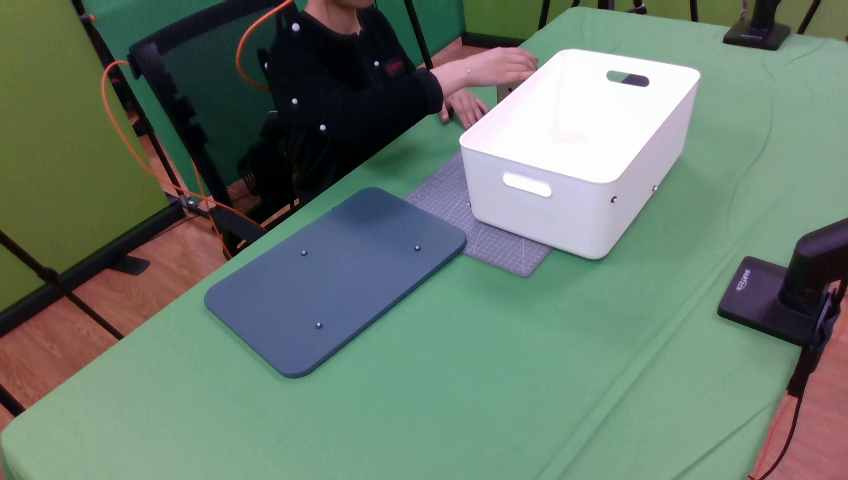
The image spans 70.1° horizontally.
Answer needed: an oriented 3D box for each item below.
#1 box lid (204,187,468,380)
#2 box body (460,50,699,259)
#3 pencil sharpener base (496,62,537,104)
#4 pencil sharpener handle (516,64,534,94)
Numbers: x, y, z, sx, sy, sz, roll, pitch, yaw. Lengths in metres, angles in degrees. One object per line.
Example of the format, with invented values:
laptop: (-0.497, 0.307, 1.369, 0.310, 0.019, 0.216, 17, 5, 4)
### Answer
box lid: (-0.135, 0.044, 0.963, 0.261, 0.015, 0.373, 29, 53, 36)
box body: (0.261, -0.153, 1.001, 0.252, 0.161, 0.365, 21, 48, 31)
pencil sharpener base: (0.190, -0.296, 1.225, 0.061, 0.107, 0.077, 14, 45, 26)
pencil sharpener handle: (0.214, -0.337, 1.249, 0.036, 0.068, 0.031, 12, 44, 28)
